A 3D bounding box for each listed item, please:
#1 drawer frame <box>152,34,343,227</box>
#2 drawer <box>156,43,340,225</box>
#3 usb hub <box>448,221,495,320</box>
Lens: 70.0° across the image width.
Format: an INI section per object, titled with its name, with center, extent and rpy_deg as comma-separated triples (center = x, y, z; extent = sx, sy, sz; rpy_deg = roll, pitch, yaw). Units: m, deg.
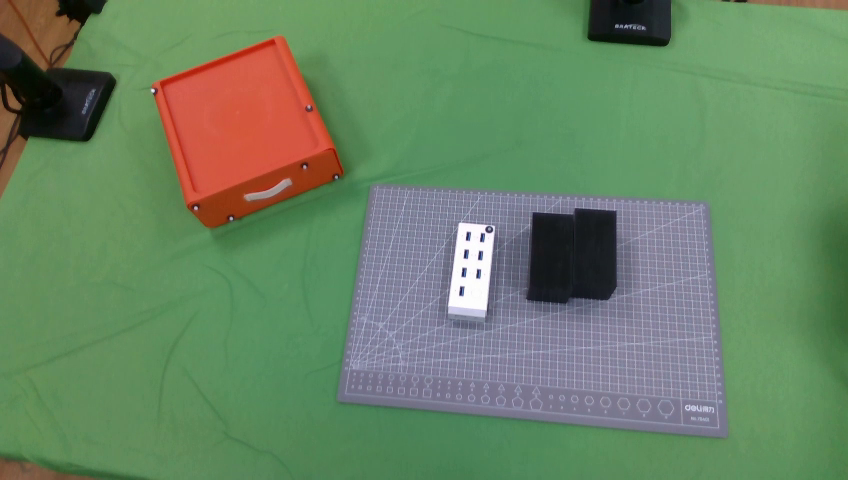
[drawer frame]
center = -0.245, -0.153, 0.839
extent = 0.202, 0.083, 0.211
rpy_deg = -24, 66, -6
[drawer]
center = -0.245, -0.151, 0.840
extent = 0.194, 0.074, 0.210
rpy_deg = -23, 67, -5
[usb hub]
center = 0.061, 0.037, 0.764
extent = 0.049, 0.025, 0.124
rpy_deg = 5, 67, 6
